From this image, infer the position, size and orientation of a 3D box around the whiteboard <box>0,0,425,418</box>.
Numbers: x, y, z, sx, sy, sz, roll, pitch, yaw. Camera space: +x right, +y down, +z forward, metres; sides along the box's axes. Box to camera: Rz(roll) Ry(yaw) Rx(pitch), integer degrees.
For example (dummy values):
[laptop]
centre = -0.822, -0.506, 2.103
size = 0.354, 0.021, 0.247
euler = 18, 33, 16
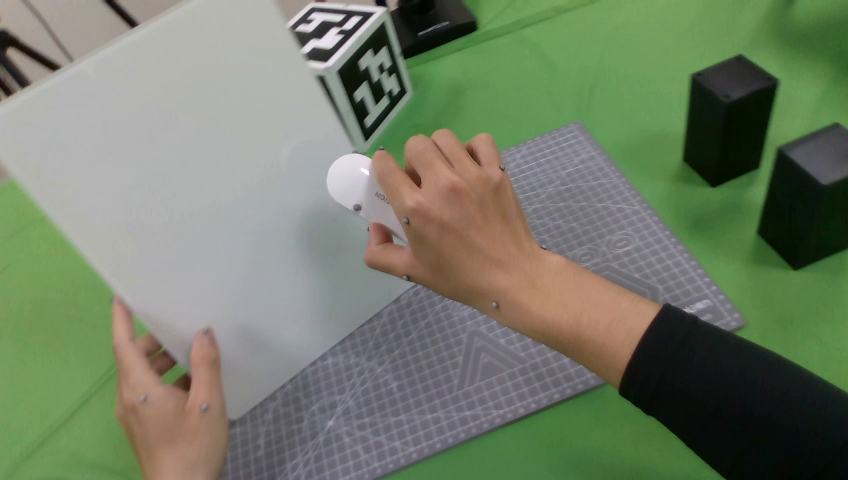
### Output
[whiteboard]
centre = -0.178, -0.042, 0.539
size = 0.217, 0.308, 0.142
euler = -37, 30, -13

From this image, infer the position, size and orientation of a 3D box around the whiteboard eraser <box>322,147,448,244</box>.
[whiteboard eraser]
centre = -0.029, -0.033, 0.453
size = 0.101, 0.019, 0.041
euler = 30, 82, -8
